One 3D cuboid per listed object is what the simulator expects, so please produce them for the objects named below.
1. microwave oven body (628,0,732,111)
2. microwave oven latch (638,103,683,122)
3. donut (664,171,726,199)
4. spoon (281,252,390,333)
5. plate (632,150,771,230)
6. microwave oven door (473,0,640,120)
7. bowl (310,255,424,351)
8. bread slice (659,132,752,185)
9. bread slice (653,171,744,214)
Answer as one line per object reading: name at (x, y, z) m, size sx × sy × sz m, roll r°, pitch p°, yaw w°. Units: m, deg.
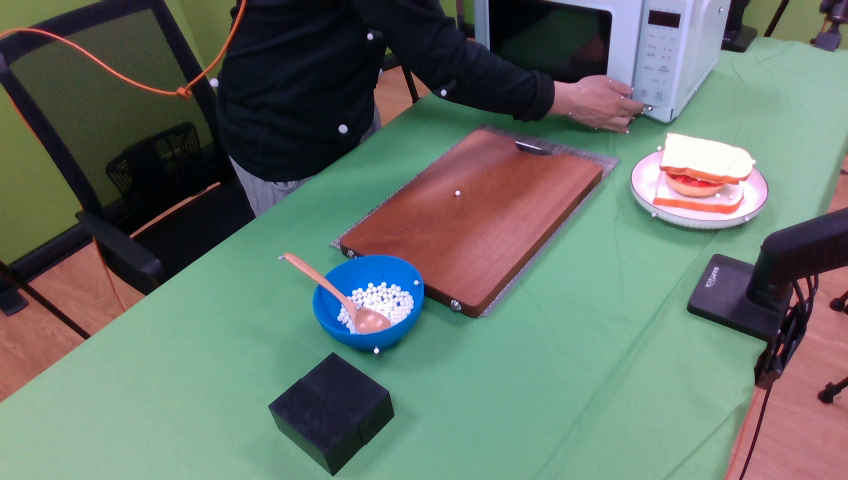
microwave oven body at (0.377, -0.463, 1.267) m, size 0.438 × 0.261 × 0.327 m, roll 21°, pitch 49°, yaw 30°
microwave oven latch at (0.451, -0.252, 1.159) m, size 0.030 × 0.029 × 0.078 m, roll -31°, pitch 46°, yaw -24°
donut at (0.438, -0.105, 0.973) m, size 0.099 × 0.048 × 0.098 m, roll -10°, pitch 42°, yaw 10°
spoon at (-0.122, 0.070, 0.812) m, size 0.193 × 0.022 × 0.042 m, roll 38°, pitch 62°, yaw 16°
plate at (0.447, -0.081, 0.988) m, size 0.207 × 0.039 × 0.206 m, roll -4°, pitch 40°, yaw 4°
microwave oven door at (0.252, -0.391, 1.194) m, size 0.353 × 0.245 × 0.039 m, roll 23°, pitch 49°, yaw 31°
bowl at (-0.072, 0.098, 0.821) m, size 0.151 × 0.077 × 0.150 m, roll -4°, pitch 40°, yaw 4°
bread slice at (0.443, -0.127, 0.952) m, size 0.134 × 0.018 × 0.107 m, roll 14°, pitch 43°, yaw 14°
bread slice at (0.452, -0.084, 0.992) m, size 0.131 × 0.019 × 0.105 m, roll 11°, pitch 45°, yaw 21°
